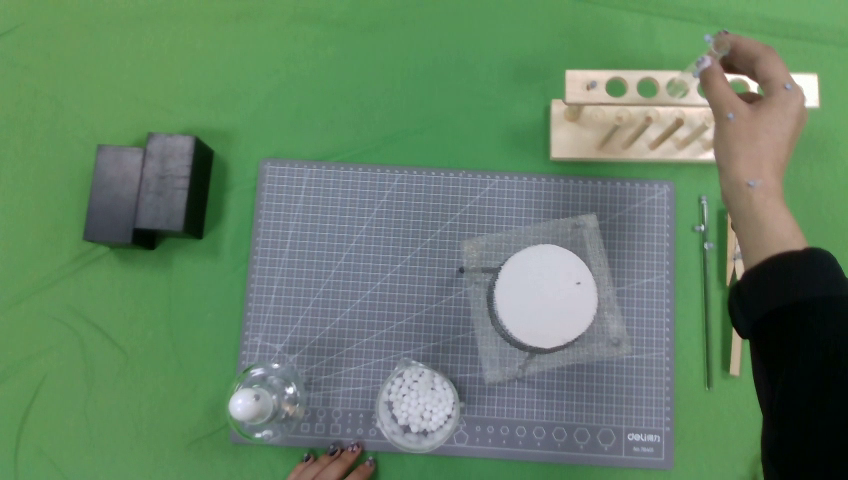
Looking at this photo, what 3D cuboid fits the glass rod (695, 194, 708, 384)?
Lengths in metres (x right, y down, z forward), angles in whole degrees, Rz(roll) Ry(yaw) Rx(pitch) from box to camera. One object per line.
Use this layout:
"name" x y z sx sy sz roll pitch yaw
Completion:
"glass rod" 0.290 0.049 0.634 0.008 0.008 0.199 2 82 1

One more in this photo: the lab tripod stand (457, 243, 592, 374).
"lab tripod stand" 0.093 0.056 0.571 0.148 0.132 0.148 0 82 3

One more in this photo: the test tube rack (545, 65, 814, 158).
"test tube rack" 0.253 -0.130 0.621 0.242 0.085 0.066 1 81 1

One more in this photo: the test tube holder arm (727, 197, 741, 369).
"test tube holder arm" 0.321 0.044 0.628 0.013 0.015 0.178 -2 81 34

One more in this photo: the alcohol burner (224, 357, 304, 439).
"alcohol burner" -0.156 0.149 0.572 0.078 0.119 0.077 0 79 2

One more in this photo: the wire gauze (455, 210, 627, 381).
"wire gauze" 0.096 0.044 0.505 0.121 0.011 0.124 -12 82 1

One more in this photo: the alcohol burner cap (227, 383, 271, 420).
"alcohol burner cap" -0.157 0.142 0.537 0.034 0.048 0.033 0 72 -1

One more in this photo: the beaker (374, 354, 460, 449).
"beaker" -0.007 0.149 0.577 0.074 0.100 0.083 -18 81 -2

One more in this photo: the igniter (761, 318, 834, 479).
"igniter" 0.367 0.214 0.601 0.057 0.025 0.276 16 82 -7

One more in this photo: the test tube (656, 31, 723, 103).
"test tube" 0.238 -0.156 0.561 0.017 0.150 0.017 0 85 4

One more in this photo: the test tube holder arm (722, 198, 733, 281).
"test tube holder arm" 0.320 -0.001 0.637 0.010 0.015 0.087 -1 82 35
